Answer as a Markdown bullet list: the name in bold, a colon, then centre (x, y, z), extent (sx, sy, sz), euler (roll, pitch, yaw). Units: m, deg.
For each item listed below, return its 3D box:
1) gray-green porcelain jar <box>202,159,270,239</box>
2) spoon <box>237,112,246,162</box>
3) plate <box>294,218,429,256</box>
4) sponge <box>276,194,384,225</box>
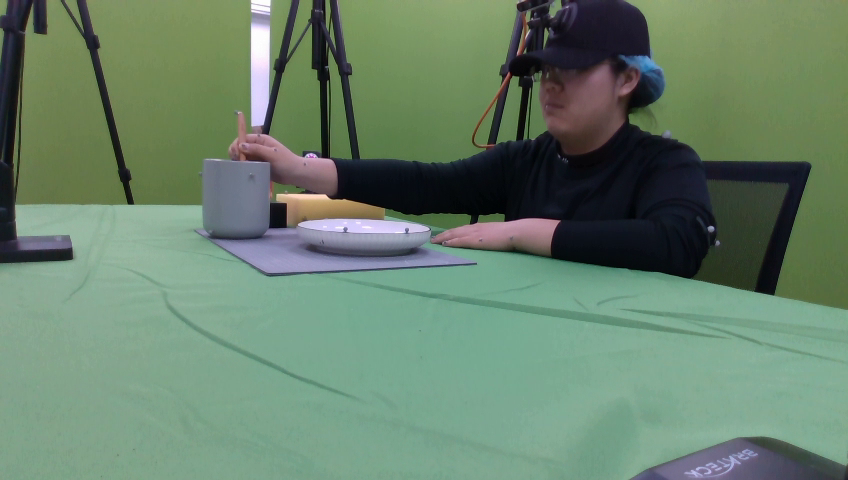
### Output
- **gray-green porcelain jar**: centre (-0.310, -0.068, 0.999), extent (0.106, 0.126, 0.106), euler (3, 8, 0)
- **spoon**: centre (-0.305, -0.123, 1.009), extent (0.042, 0.193, 0.021), euler (8, -11, -41)
- **plate**: centre (-0.096, -0.005, 0.936), extent (0.208, 0.039, 0.207), euler (3, 7, 0)
- **sponge**: centre (-0.203, -0.066, 1.311), extent (0.208, 0.061, 0.117), euler (-2, 8, -35)
